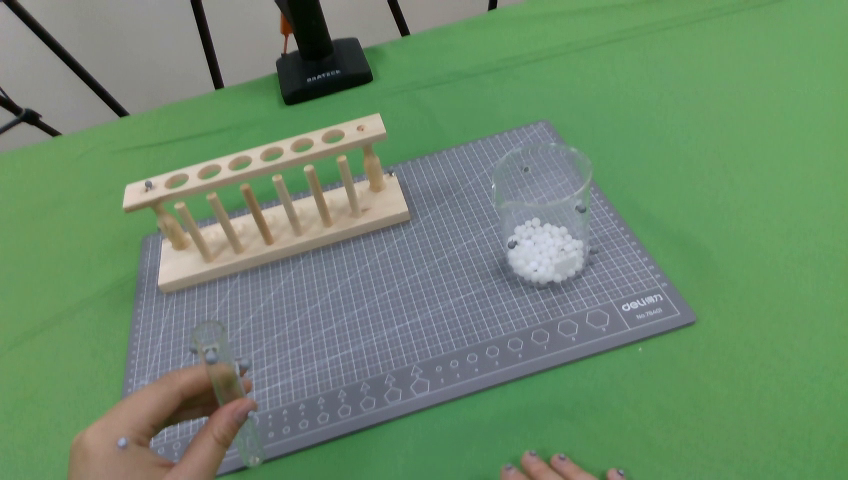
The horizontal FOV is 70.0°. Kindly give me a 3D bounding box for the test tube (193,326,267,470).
[{"bbox_3d":[-0.108,0.097,0.349,0.017,0.151,0.017,2,47,-2],"label":"test tube"}]

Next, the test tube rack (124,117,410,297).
[{"bbox_3d":[-0.144,-0.031,0.573,0.242,0.086,0.066,-17,44,-3],"label":"test tube rack"}]

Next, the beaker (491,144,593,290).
[{"bbox_3d":[0.095,-0.013,0.486,0.084,0.101,0.073,-31,46,-15],"label":"beaker"}]
